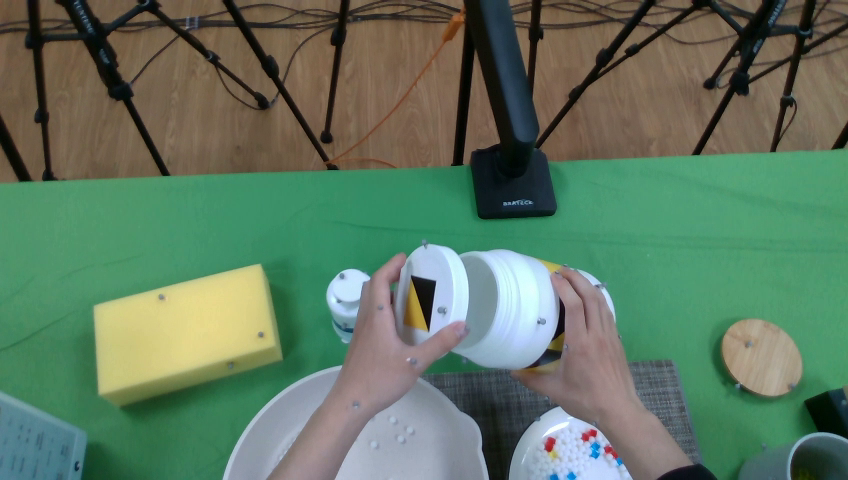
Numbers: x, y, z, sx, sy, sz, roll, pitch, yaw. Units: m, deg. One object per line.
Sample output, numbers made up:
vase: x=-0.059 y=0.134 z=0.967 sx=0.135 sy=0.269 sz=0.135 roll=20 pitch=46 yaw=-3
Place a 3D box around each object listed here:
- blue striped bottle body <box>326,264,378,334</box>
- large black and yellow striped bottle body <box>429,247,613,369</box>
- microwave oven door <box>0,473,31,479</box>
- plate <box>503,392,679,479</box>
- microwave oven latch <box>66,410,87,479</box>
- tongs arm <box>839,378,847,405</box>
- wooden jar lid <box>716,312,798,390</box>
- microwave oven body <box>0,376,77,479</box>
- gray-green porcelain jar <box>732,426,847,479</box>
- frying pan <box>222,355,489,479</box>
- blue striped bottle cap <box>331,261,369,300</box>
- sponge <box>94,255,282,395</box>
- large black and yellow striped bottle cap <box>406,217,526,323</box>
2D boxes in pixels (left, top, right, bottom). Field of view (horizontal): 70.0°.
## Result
blue striped bottle body: x=-0.091 y=0.071 z=0.769 sx=0.063 sy=0.121 sz=0.062 roll=2 pitch=62 yaw=-3
large black and yellow striped bottle body: x=0.109 y=0.075 z=0.686 sx=0.185 sy=0.131 sz=0.129 roll=13 pitch=56 yaw=-37
microwave oven door: x=-0.391 y=0.383 z=0.501 sx=0.039 sy=0.245 sz=0.352 roll=-2 pitch=63 yaw=-5
plate: x=0.196 y=0.288 z=0.721 sx=0.209 sy=0.038 sz=0.207 roll=1 pitch=63 yaw=-2
microwave oven latch: x=-0.407 y=0.236 z=0.690 sx=0.030 sy=0.030 sz=0.078 roll=-2 pitch=64 yaw=-5
tongs arm: x=0.565 y=0.346 z=0.689 sx=0.051 sy=0.026 sz=0.382 roll=-7 pitch=74 yaw=-9
wooden jar lid: x=0.449 y=0.151 z=0.822 sx=0.108 sy=0.021 sz=0.107 roll=1 pitch=64 yaw=-3
microwave oven body: x=-0.539 y=0.353 z=0.513 sx=0.326 sy=0.262 sz=0.438 roll=-2 pitch=64 yaw=-5
gray-green porcelain jar: x=0.429 y=0.278 z=0.696 sx=0.106 sy=0.127 sz=0.105 roll=2 pitch=63 yaw=-3
frying pan: x=-0.027 y=0.355 z=0.635 sx=0.307 sy=0.103 sz=0.482 roll=-24 pitch=59 yaw=-14
blue striped bottle cap: x=-0.088 y=0.048 z=0.723 sx=0.044 sy=0.021 sz=0.044 roll=1 pitch=60 yaw=-1
sponge: x=-0.297 y=0.106 z=0.771 sx=0.207 sy=0.061 sz=0.117 roll=-15 pitch=65 yaw=-12
large black and yellow striped bottle cap: x=0.040 y=0.027 z=0.574 sx=0.115 sy=0.019 sz=0.114 roll=9 pitch=51 yaw=-11
